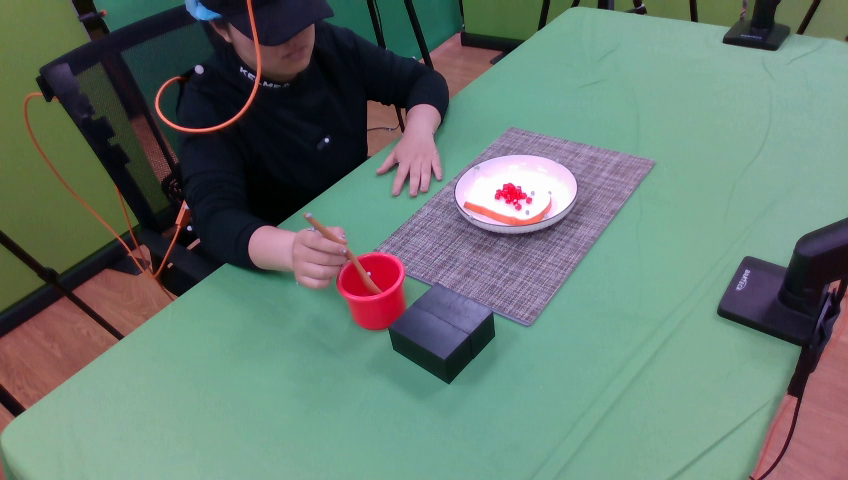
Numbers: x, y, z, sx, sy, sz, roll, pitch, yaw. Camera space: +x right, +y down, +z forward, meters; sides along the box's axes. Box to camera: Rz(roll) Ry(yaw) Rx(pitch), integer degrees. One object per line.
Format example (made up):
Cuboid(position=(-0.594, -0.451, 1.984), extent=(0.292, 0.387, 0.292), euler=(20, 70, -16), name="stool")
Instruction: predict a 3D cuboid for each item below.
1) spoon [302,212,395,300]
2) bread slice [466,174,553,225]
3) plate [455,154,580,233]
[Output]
Cuboid(position=(-0.100, 0.025, 0.825), extent=(0.021, 0.195, 0.041), euler=(-47, 34, -14), name="spoon")
Cuboid(position=(0.152, -0.067, 1.022), extent=(0.130, 0.019, 0.105), euler=(23, 50, 33), name="bread slice")
Cuboid(position=(0.158, -0.076, 1.028), extent=(0.209, 0.038, 0.208), euler=(-5, 40, 5), name="plate")
